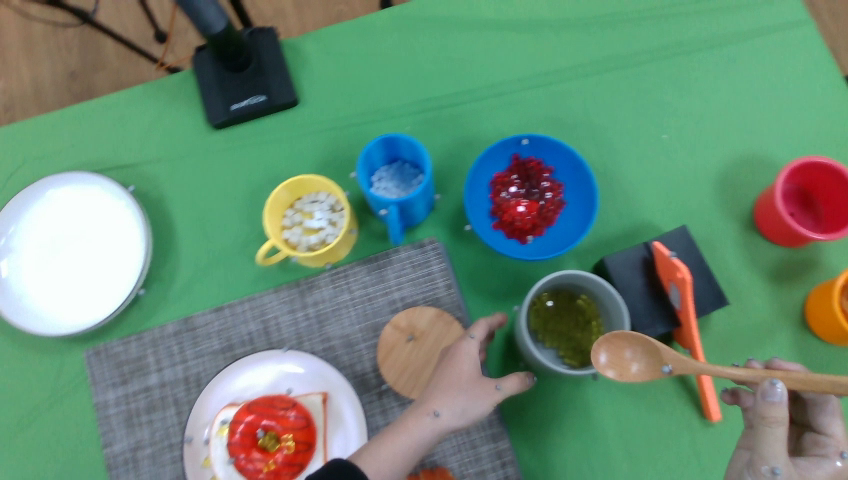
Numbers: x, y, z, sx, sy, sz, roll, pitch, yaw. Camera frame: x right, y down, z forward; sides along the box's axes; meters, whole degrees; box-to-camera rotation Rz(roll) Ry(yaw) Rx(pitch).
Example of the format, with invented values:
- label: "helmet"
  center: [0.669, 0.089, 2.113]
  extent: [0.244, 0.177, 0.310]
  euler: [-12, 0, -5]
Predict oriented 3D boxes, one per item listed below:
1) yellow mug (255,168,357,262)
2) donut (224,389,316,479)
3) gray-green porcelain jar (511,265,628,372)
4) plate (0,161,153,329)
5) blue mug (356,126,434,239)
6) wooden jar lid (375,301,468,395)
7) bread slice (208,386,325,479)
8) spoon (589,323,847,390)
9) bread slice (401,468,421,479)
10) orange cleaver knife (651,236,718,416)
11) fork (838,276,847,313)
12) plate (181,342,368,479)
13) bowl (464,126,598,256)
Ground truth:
- label: "yellow mug"
  center: [-0.147, -0.018, 0.724]
  extent: [0.131, 0.064, 0.099]
  euler: [-39, 78, -5]
- label: "donut"
  center: [-0.166, 0.211, 0.655]
  extent: [0.099, 0.048, 0.098]
  euler: [0, 77, -1]
- label: "gray-green porcelain jar"
  center: [0.150, 0.090, 0.656]
  extent: [0.106, 0.127, 0.105]
  euler: [0, 77, 2]
- label: "plate"
  center: [-0.432, 0.007, 0.744]
  extent: [0.207, 0.039, 0.206]
  euler: [0, 77, 2]
- label: "blue mug"
  center: [-0.032, -0.059, 0.708]
  extent: [0.082, 0.106, 0.116]
  euler: [2, 77, 3]
- label: "wooden jar lid"
  center: [-0.002, 0.125, 0.705]
  extent: [0.108, 0.021, 0.108]
  euler: [0, 78, 2]
- label: "bread slice"
  center: [-0.177, 0.223, 0.685]
  extent: [0.131, 0.019, 0.104]
  euler: [-4, 77, -2]
- label: "spoon"
  center: [0.213, 0.088, 0.429]
  extent: [0.192, 0.022, 0.041]
  euler: [3, 96, 38]
- label: "bread slice"
  center: [-0.002, 0.290, 0.614]
  extent: [0.018, 0.135, 0.106]
  euler: [-10, 75, -9]
- label: "orange cleaver knife"
  center: [0.287, 0.096, 0.671]
  extent: [0.012, 0.076, 0.212]
  euler: [-20, 107, -1]
- label: "fork"
  center: [0.449, 0.094, 0.631]
  extent: [0.028, 0.019, 0.207]
  euler: [45, 39, 4]
- label: "plate"
  center: [-0.163, 0.220, 0.681]
  extent: [0.209, 0.038, 0.208]
  euler: [-1, 77, 3]
- label: "bowl"
  center: [0.122, -0.048, 0.713]
  extent: [0.151, 0.077, 0.150]
  euler: [-1, 78, 3]
